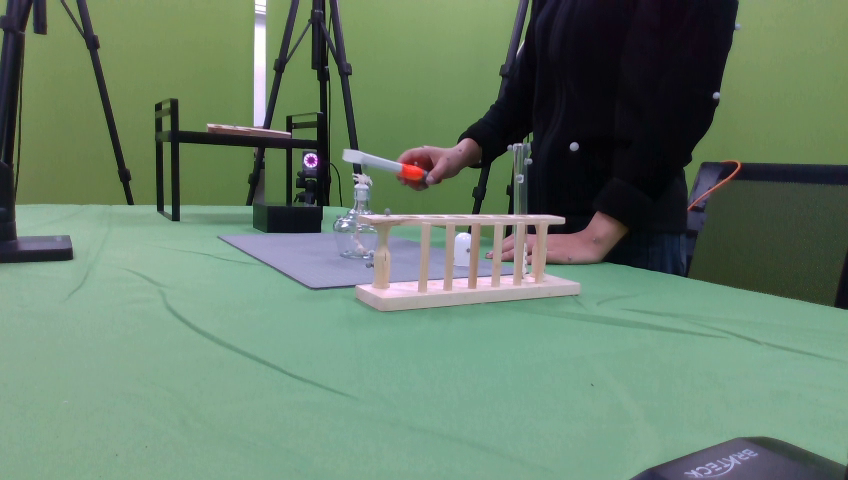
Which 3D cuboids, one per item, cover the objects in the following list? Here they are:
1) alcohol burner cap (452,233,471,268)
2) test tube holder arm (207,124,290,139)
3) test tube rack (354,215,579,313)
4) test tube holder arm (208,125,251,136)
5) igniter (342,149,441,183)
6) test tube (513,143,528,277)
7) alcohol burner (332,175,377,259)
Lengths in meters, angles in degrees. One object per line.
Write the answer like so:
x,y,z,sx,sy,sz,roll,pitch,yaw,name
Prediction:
0.053,0.014,0.823,0.034,0.048,0.034,2,6,0,alcohol burner cap
-0.381,-0.237,1.327,0.179,0.015,0.013,0,41,-32,test tube holder arm
0.053,0.019,0.635,0.243,0.085,0.066,-1,8,-29,test tube rack
-0.418,-0.234,1.299,0.088,0.015,0.010,1,41,-31,test tube holder arm
-0.045,-0.121,1.007,0.057,0.025,0.278,13,4,27,igniter
0.108,-0.033,0.677,0.017,0.150,0.017,-1,8,1,test tube
-0.090,-0.033,0.855,0.078,0.119,0.078,4,7,0,alcohol burner
